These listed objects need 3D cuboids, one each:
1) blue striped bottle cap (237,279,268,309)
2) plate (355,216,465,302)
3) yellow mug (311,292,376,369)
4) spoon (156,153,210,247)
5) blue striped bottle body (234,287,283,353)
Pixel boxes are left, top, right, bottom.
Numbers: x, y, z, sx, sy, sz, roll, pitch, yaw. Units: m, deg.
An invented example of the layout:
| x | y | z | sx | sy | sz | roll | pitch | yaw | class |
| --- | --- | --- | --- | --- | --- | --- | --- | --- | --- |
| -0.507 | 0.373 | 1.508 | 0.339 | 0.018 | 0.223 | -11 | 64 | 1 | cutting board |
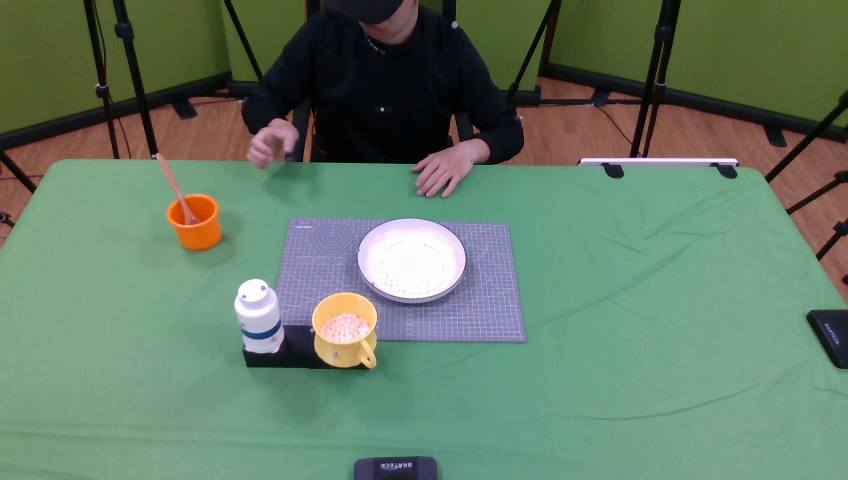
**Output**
| x | y | z | sx | sy | sz | roll | pitch | yaw | class |
| --- | --- | --- | --- | --- | --- | --- | --- | --- | --- |
| -0.252 | 0.078 | 0.892 | 0.044 | 0.021 | 0.044 | 4 | 47 | -5 | blue striped bottle cap |
| -0.027 | 0.039 | 1.144 | 0.208 | 0.039 | 0.206 | 2 | 46 | -2 | plate |
| -0.115 | 0.149 | 0.945 | 0.100 | 0.064 | 0.130 | -30 | 57 | -28 | yellow mug |
| -0.458 | -0.076 | 1.147 | 0.041 | 0.194 | 0.021 | -26 | 9 | -24 | spoon |
| -0.254 | 0.114 | 0.929 | 0.063 | 0.121 | 0.062 | 2 | 46 | -2 | blue striped bottle body |
